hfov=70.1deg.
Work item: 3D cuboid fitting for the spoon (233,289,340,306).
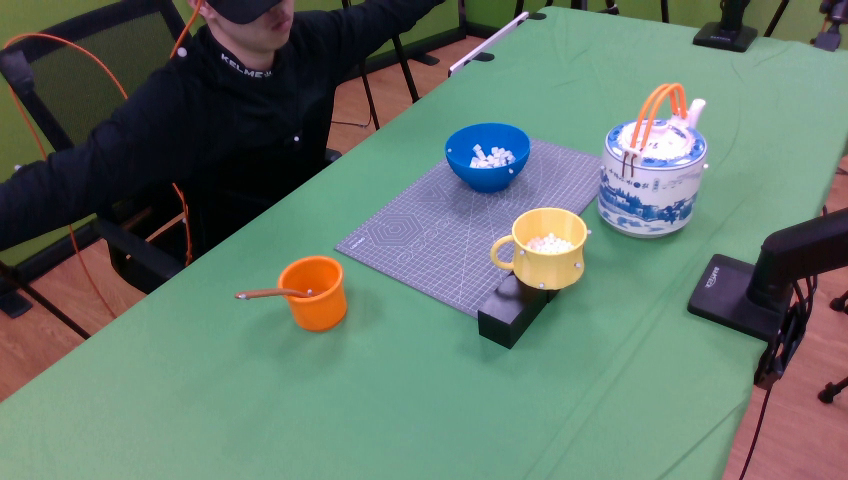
[{"bbox_3d":[-0.181,0.075,0.811,0.041,0.195,0.021,17,91,30],"label":"spoon"}]

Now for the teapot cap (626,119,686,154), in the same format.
[{"bbox_3d":[0.338,-0.153,0.882,0.085,0.044,0.085,-3,38,3],"label":"teapot cap"}]

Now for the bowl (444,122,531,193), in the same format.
[{"bbox_3d":[0.113,-0.136,1.063,0.151,0.077,0.150,-4,41,4],"label":"bowl"}]

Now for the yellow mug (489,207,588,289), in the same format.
[{"bbox_3d":[0.154,0.013,0.820,0.131,0.064,0.099,-8,40,0],"label":"yellow mug"}]

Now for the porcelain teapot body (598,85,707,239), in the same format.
[{"bbox_3d":[0.362,-0.137,0.921,0.144,0.226,0.206,29,51,36],"label":"porcelain teapot body"}]
